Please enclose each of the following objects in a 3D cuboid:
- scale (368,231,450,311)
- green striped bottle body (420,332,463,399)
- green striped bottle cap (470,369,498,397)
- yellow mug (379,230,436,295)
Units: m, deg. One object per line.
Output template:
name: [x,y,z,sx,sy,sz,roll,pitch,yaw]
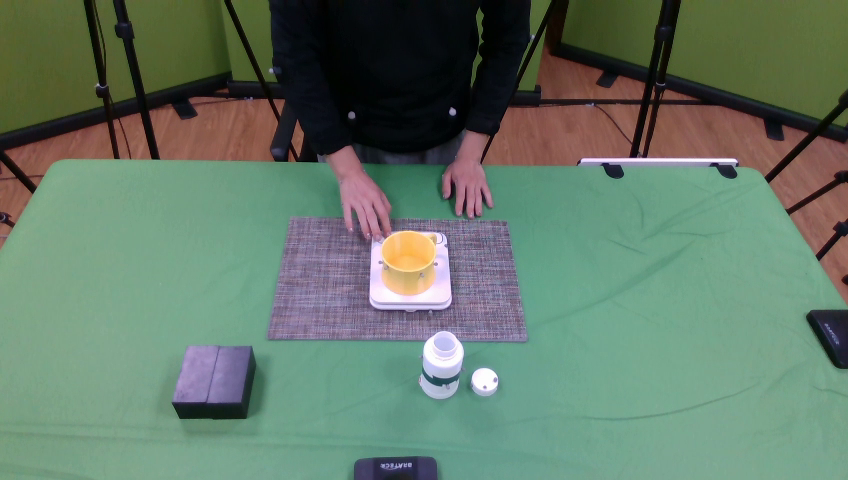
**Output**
scale: [-0.029,0.049,1.137,0.149,0.032,0.199,1,46,-4]
green striped bottle body: [0.027,0.193,0.948,0.063,0.120,0.063,2,47,-2]
green striped bottle cap: [0.098,0.232,0.989,0.044,0.020,0.044,2,40,-1]
yellow mug: [-0.020,0.030,1.089,0.099,0.064,0.130,31,52,24]
